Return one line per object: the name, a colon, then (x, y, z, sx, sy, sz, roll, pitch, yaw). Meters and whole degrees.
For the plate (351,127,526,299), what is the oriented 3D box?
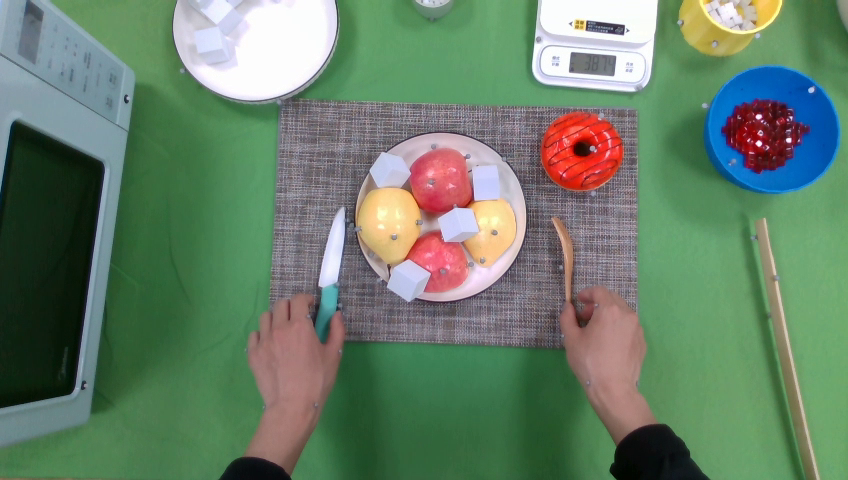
plate: (0.018, -0.032, 0.733, 0.209, 0.038, 0.208, 0, 84, 0)

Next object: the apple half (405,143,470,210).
apple half: (0.015, -0.077, 0.721, 0.074, 0.053, 0.080, -10, 87, 2)

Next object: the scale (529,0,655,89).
scale: (0.215, -0.296, 0.766, 0.148, 0.031, 0.200, 6, 84, 2)

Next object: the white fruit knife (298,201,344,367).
white fruit knife: (-0.120, 0.052, 0.737, 0.027, 0.016, 0.207, 11, 83, -10)

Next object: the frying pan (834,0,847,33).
frying pan: (0.685, -0.230, 0.716, 0.307, 0.103, 0.485, -25, 76, -1)

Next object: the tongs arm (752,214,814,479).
tongs arm: (0.443, 0.157, 0.713, 0.051, 0.026, 0.383, -6, 85, -3)

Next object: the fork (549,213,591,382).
fork: (0.177, 0.068, 0.730, 0.018, 0.028, 0.207, -10, 86, 27)

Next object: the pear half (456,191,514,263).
pear half: (0.071, -0.018, 0.725, 0.070, 0.031, 0.087, 3, 81, 15)

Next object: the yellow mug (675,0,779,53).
yellow mug: (0.363, -0.305, 0.747, 0.100, 0.064, 0.130, -30, 83, -2)

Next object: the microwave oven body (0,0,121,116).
microwave oven body: (-0.543, -0.033, 0.628, 0.326, 0.260, 0.440, 4, 84, 1)

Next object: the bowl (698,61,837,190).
bowl: (0.392, -0.127, 0.723, 0.151, 0.077, 0.151, 0, 84, 1)

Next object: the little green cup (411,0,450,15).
little green cup: (0.008, -0.319, 0.768, 0.061, 0.039, 0.061, 0, 83, 1)

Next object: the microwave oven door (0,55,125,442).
microwave oven door: (-0.401, 0.020, 0.616, 0.039, 0.244, 0.355, 4, 84, 2)

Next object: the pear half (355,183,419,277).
pear half: (-0.042, -0.012, 0.710, 0.076, 0.056, 0.109, -5, 88, -7)

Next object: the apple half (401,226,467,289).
apple half: (0.011, 0.020, 0.719, 0.081, 0.033, 0.081, 0, 77, -1)

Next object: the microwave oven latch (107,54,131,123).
microwave oven latch: (-0.379, -0.185, 0.740, 0.030, 0.029, 0.079, 6, 85, 1)

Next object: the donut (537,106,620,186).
donut: (0.187, -0.114, 0.737, 0.099, 0.048, 0.099, 0, 84, 4)

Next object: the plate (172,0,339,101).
plate: (-0.208, -0.272, 0.766, 0.208, 0.039, 0.207, 0, 84, 1)
